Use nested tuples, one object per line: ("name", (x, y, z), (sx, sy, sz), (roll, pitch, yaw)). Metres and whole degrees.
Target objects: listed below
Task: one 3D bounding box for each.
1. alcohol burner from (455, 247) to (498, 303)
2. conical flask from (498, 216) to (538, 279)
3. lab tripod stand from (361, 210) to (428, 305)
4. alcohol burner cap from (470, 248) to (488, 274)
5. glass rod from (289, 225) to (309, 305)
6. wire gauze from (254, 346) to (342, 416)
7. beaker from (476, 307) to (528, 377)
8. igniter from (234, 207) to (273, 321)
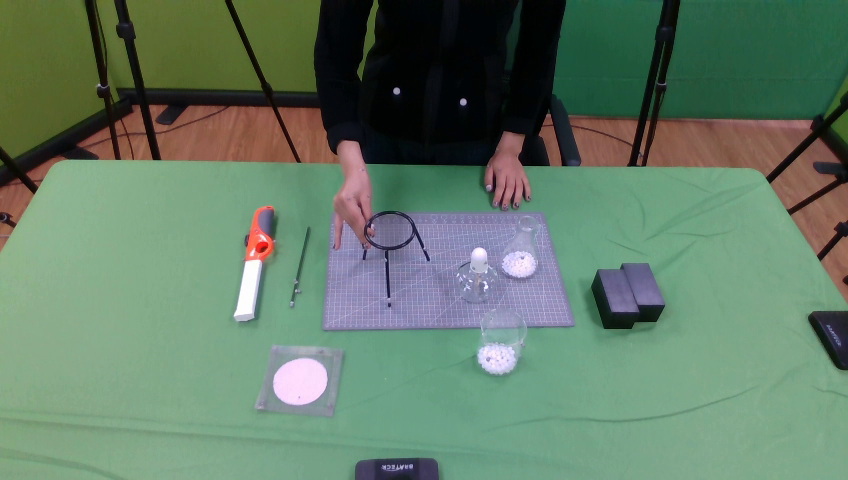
("alcohol burner", (0.095, 0.057, 1.085), (0.078, 0.120, 0.077), (1, 46, -1))
("conical flask", (0.183, 0.010, 1.132), (0.075, 0.122, 0.075), (2, 46, -2))
("lab tripod stand", (-0.058, 0.020, 1.087), (0.148, 0.132, 0.147), (0, 48, 0))
("alcohol burner cap", (0.095, 0.034, 1.057), (0.034, 0.048, 0.033), (-3, 52, 4))
("glass rod", (-0.236, 0.042, 1.149), (0.008, 0.008, 0.198), (3, 46, -1))
("wire gauze", (-0.201, 0.223, 0.978), (0.125, 0.011, 0.121), (4, 45, 1))
("beaker", (0.122, 0.171, 0.991), (0.084, 0.101, 0.073), (-34, 56, -30))
("igniter", (-0.319, 0.035, 1.137), (0.057, 0.025, 0.274), (-7, 46, 3))
